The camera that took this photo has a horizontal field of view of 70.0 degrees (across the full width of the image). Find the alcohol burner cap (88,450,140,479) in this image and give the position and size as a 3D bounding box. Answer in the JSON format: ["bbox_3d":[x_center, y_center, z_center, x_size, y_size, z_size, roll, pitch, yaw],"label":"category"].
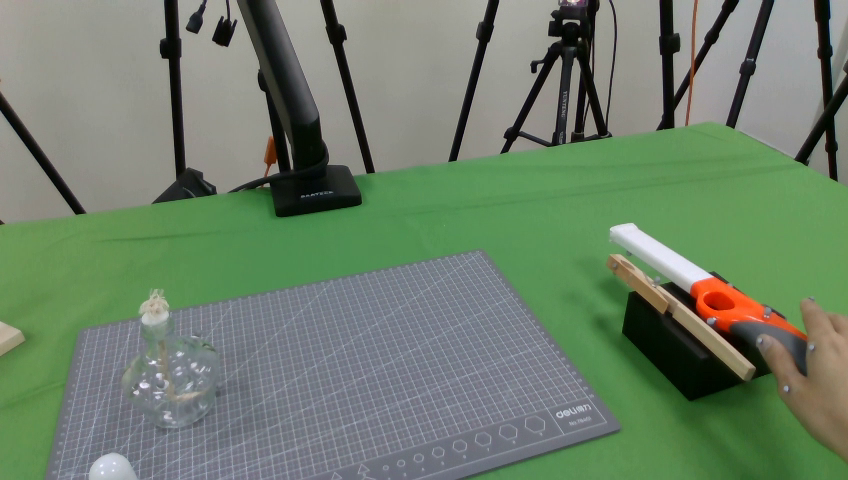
[{"bbox_3d":[-0.228,0.175,0.443,0.034,0.048,0.033,0,32,1],"label":"alcohol burner cap"}]

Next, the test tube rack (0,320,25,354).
[{"bbox_3d":[-0.489,0.113,0.513,0.066,0.086,0.241,15,35,24],"label":"test tube rack"}]

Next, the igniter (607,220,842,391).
[{"bbox_3d":[0.264,0.047,0.566,0.057,0.025,0.273,-12,30,-17],"label":"igniter"}]

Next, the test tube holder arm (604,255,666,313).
[{"bbox_3d":[0.205,0.041,0.585,0.010,0.015,0.087,-11,33,-21],"label":"test tube holder arm"}]

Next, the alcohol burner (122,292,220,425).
[{"bbox_3d":[-0.213,0.095,0.504,0.078,0.120,0.077,-1,30,1],"label":"alcohol burner"}]

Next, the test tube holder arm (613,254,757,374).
[{"bbox_3d":[0.228,0.061,0.552,0.013,0.015,0.176,-12,33,-22],"label":"test tube holder arm"}]
